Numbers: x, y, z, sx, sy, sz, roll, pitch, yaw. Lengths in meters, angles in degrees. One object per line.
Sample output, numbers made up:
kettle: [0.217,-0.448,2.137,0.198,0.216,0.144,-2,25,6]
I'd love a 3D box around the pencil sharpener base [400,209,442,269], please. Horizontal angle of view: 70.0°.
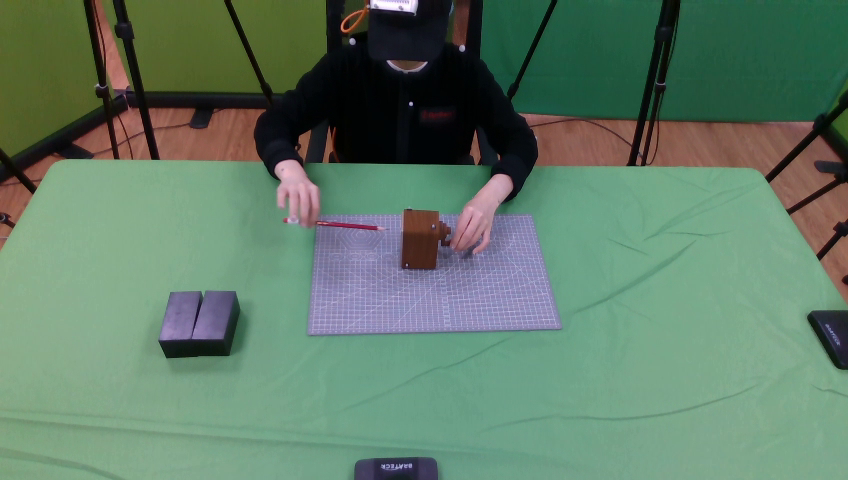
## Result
pencil sharpener base: [-0.006,0.000,1.134,0.077,0.107,0.061,2,45,-2]

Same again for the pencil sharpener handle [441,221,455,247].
pencil sharpener handle: [0.046,-0.009,1.129,0.030,0.068,0.036,2,56,-2]

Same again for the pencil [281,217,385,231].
pencil: [-0.167,-0.028,1.108,0.194,0.012,0.012,6,46,3]
